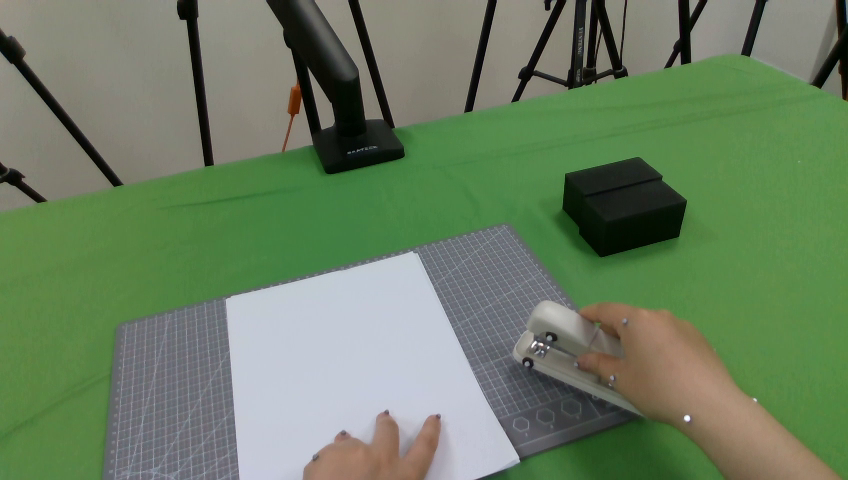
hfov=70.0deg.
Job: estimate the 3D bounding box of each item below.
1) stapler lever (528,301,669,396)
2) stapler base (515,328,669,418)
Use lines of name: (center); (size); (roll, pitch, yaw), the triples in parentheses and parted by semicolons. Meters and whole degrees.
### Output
stapler lever: (0.143, 0.087, 0.502); (0.117, 0.040, 0.027); (22, 51, 23)
stapler base: (0.142, 0.105, 0.519); (0.129, 0.024, 0.041); (22, 51, 23)
